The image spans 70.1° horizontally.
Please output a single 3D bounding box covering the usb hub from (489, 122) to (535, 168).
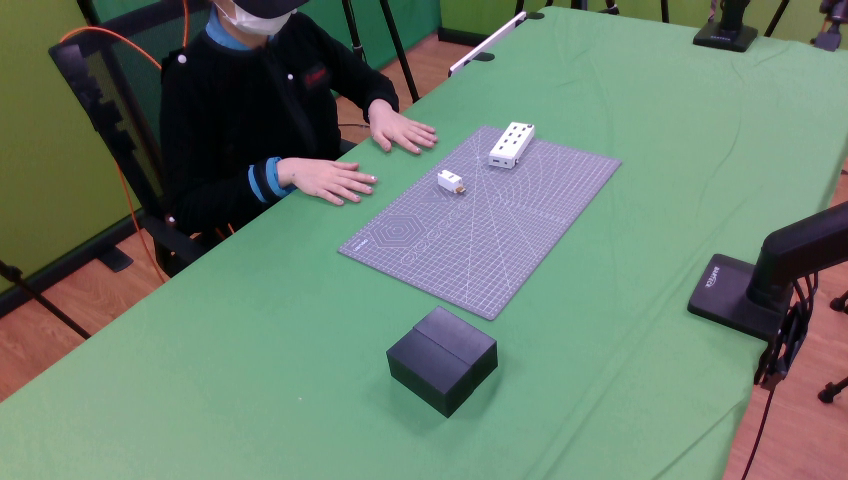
[{"bbox_3d":[0.169,-0.182,1.149,0.049,0.025,0.125,15,46,23],"label":"usb hub"}]

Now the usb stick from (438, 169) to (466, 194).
[{"bbox_3d":[0.051,-0.102,1.073,0.021,0.027,0.058,-32,49,-28],"label":"usb stick"}]
